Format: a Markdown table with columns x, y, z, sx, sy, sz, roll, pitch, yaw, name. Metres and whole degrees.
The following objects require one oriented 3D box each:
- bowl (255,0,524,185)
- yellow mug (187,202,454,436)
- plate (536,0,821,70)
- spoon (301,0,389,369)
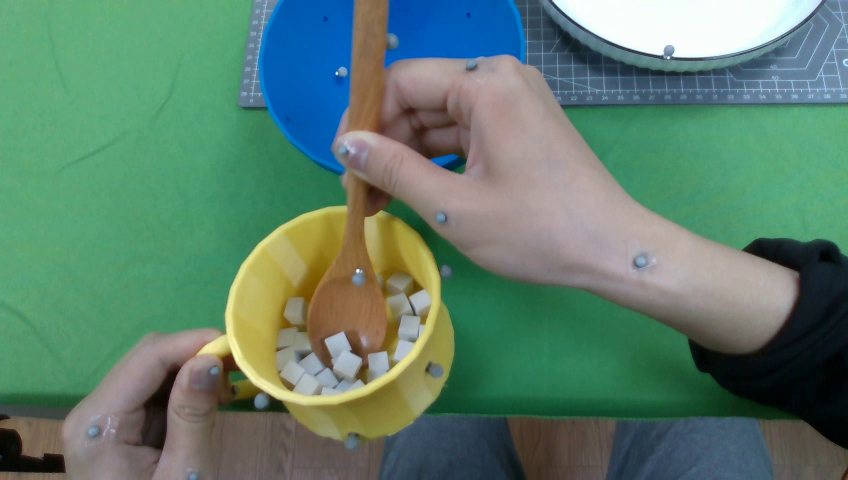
| x | y | z | sx | sy | sz | roll | pitch | yaw | name |
| --- | --- | --- | --- | --- | --- | --- | --- | --- | --- |
| -0.016 | -0.095 | 0.372 | 0.151 | 0.077 | 0.150 | -1 | 75 | 5 | bowl |
| -0.052 | 0.046 | 0.299 | 0.131 | 0.064 | 0.099 | -24 | 60 | -5 | yellow mug |
| 0.165 | -0.202 | 0.412 | 0.209 | 0.038 | 0.208 | -1 | 72 | 4 | plate |
| -0.031 | -0.020 | 0.270 | 0.041 | 0.195 | 0.021 | 9 | 32 | -2 | spoon |
